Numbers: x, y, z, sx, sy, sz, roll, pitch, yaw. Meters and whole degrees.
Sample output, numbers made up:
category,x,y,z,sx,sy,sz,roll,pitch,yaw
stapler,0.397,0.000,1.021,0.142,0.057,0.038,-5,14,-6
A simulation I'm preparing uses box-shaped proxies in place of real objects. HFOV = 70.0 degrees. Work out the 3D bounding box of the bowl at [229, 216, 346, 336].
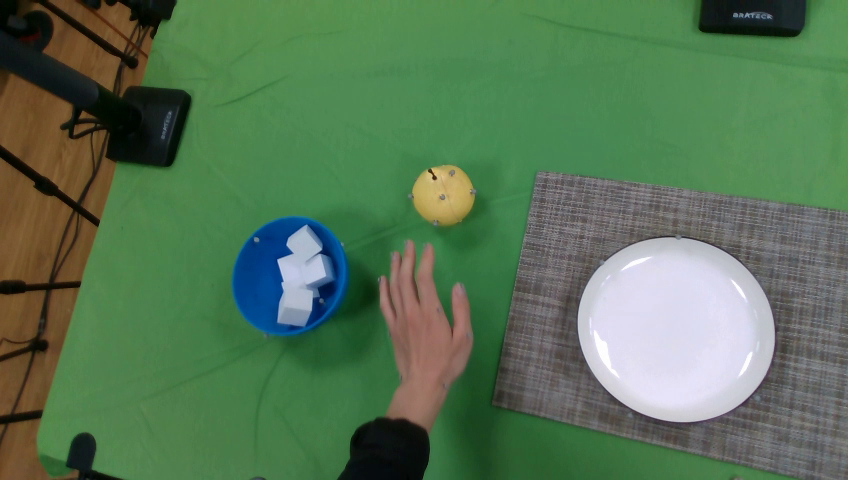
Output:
category,x,y,z,sx,sy,sz,roll,pitch,yaw
bowl,-0.162,0.052,0.778,0.151,0.077,0.150,-3,76,12

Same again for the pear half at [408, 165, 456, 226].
category,x,y,z,sx,sy,sz,roll,pitch,yaw
pear half,0.005,-0.058,0.750,0.056,0.111,0.075,-18,63,8

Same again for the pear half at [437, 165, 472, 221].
category,x,y,z,sx,sy,sz,roll,pitch,yaw
pear half,0.042,-0.064,0.754,0.031,0.089,0.070,-17,63,8

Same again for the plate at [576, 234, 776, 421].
category,x,y,z,sx,sy,sz,roll,pitch,yaw
plate,0.279,0.097,0.685,0.207,0.039,0.206,-3,76,13
